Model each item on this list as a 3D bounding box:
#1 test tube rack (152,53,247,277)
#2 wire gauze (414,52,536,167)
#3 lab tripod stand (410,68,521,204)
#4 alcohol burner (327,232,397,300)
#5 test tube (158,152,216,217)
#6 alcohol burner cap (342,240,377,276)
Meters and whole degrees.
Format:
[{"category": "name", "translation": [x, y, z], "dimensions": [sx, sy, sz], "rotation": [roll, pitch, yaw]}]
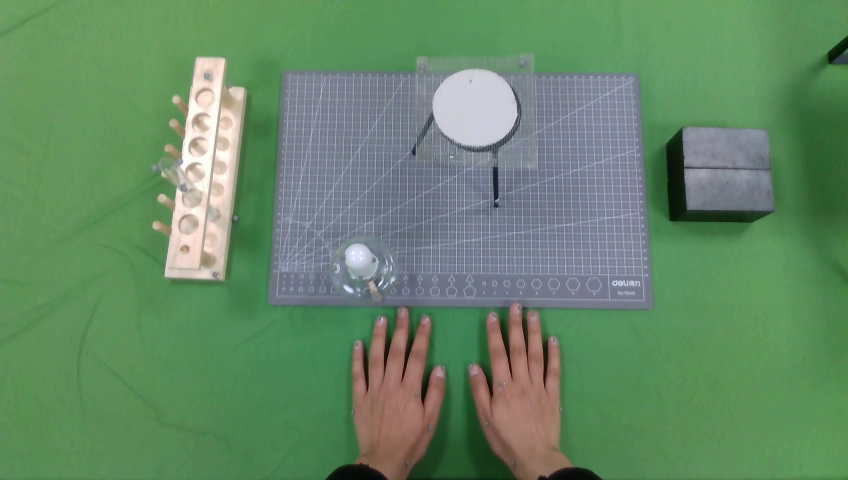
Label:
[{"category": "test tube rack", "translation": [-0.262, -0.084, 0.698], "dimensions": [0.067, 0.085, 0.241], "rotation": [3, 78, 1]}, {"category": "wire gauze", "translation": [0.052, -0.135, 0.615], "dimensions": [0.125, 0.011, 0.121], "rotation": [2, 79, 0]}, {"category": "lab tripod stand", "translation": [0.056, -0.125, 0.681], "dimensions": [0.148, 0.132, 0.147], "rotation": [0, 76, 1]}, {"category": "alcohol burner", "translation": [-0.068, 0.025, 0.659], "dimensions": [0.078, 0.119, 0.077], "rotation": [0, 78, -2]}, {"category": "test tube", "translation": [-0.247, -0.055, 0.641], "dimensions": [0.017, 0.151, 0.017], "rotation": [1, 73, -3]}, {"category": "alcohol burner cap", "translation": [-0.068, 0.017, 0.624], "dimensions": [0.034, 0.048, 0.033], "rotation": [-1, 75, 5]}]
